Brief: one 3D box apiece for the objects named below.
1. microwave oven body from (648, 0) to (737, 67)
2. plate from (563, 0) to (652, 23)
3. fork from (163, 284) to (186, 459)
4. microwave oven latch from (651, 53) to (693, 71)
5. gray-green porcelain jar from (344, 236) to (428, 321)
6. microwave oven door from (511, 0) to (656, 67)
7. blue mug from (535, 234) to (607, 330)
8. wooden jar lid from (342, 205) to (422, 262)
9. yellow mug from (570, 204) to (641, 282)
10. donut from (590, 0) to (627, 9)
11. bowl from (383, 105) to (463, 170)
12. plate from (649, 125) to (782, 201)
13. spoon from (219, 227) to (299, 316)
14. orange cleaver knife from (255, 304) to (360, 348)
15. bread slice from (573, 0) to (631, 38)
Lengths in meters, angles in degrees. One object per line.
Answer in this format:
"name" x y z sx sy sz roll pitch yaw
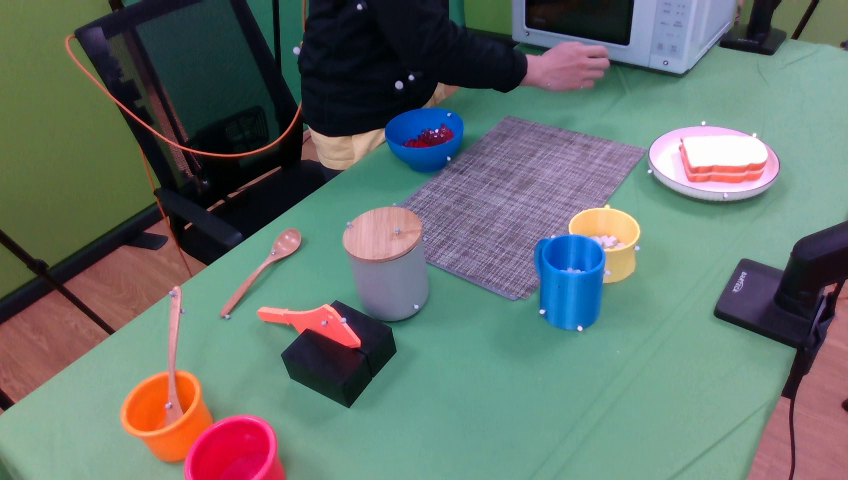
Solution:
"microwave oven body" 0.475 -0.602 1.411 0.438 0.261 0.327 23 50 32
"plate" 0.440 -0.572 1.455 0.209 0.038 0.208 -6 43 6
"fork" -0.303 0.157 0.733 0.028 0.019 0.207 -3 84 12
"microwave oven latch" 0.532 -0.386 1.301 0.078 0.029 0.030 27 52 34
"gray-green porcelain jar" -0.049 0.042 0.849 0.106 0.127 0.105 -4 41 4
"microwave oven door" 0.351 -0.539 1.349 0.353 0.245 0.039 24 50 31
"blue mug" 0.191 0.048 0.824 0.082 0.106 0.115 -26 44 -20
"wooden jar lid" -0.055 -0.005 0.808 0.108 0.021 0.108 -6 41 6
"yellow mug" 0.268 -0.005 0.904 0.099 0.064 0.130 7 41 15
"donut" 0.438 -0.586 1.434 0.099 0.048 0.098 -2 53 3
"bowl" 0.002 -0.185 1.143 0.151 0.077 0.150 -4 41 4
"plate" 0.493 -0.128 1.036 0.207 0.039 0.206 -4 41 4
"spoon" -0.261 0.046 0.954 0.041 0.021 0.194 27 48 11
"orange cleaver knife" -0.161 0.115 0.813 0.210 0.077 0.012 -5 32 46
"bread slice" 0.428 -0.557 1.479 0.105 0.019 0.131 -27 70 -19
